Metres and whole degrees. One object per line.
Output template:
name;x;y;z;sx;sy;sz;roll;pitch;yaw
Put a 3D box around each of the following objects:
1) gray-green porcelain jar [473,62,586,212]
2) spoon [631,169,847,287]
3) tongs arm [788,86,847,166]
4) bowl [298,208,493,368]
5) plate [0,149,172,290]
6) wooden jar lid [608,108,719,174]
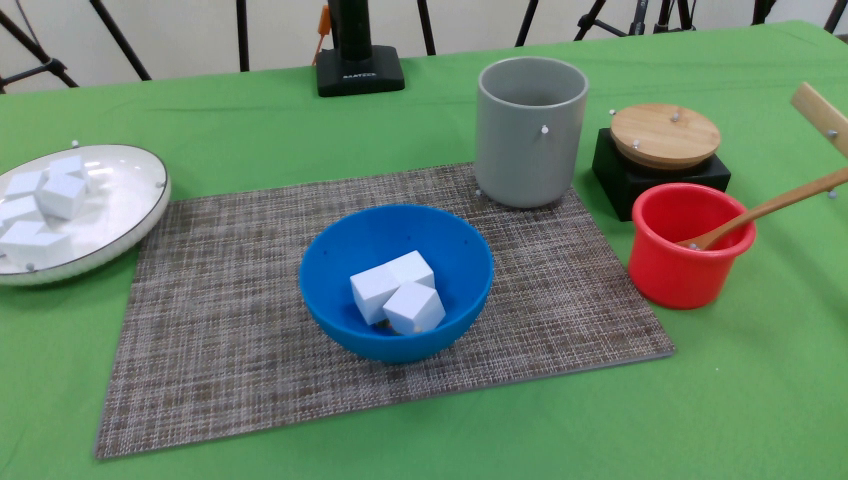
gray-green porcelain jar;0.104;-0.101;0.619;0.106;0.127;0.105;-1;42;1
spoon;0.262;-0.009;0.504;0.194;0.022;0.041;-35;30;32
tongs arm;0.406;-0.010;0.469;0.028;0.028;0.383;-3;45;-14
bowl;-0.021;0.050;0.490;0.151;0.077;0.150;-1;42;1
plate;-0.360;-0.021;0.615;0.209;0.038;0.207;-2;42;2
wooden jar lid;0.245;-0.102;0.627;0.108;0.021;0.107;-2;42;2
